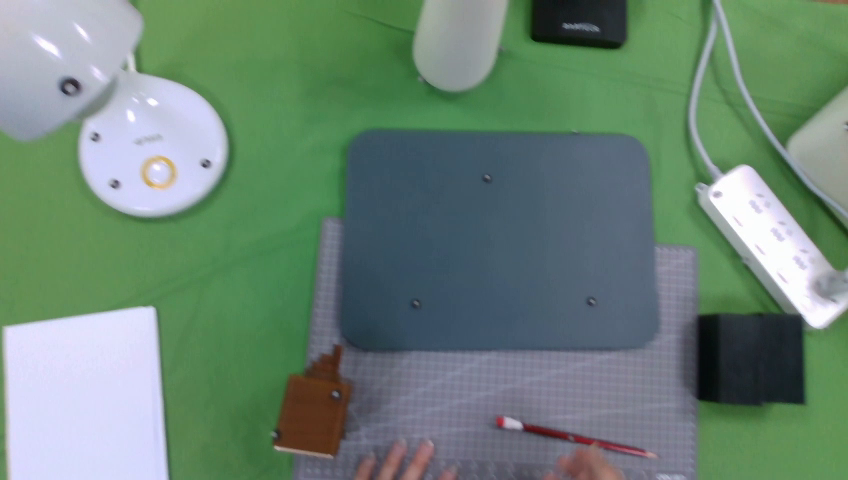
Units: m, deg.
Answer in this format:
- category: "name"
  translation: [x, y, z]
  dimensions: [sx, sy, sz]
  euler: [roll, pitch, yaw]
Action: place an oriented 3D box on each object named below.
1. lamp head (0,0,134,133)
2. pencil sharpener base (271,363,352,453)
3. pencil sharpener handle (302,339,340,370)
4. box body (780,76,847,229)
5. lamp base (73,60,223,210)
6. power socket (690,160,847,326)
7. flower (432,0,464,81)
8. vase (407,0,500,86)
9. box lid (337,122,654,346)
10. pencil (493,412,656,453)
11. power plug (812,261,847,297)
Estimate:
- category: "lamp head"
  translation: [-0.248, -0.140, 0.336]
  dimensions: [0.112, 0.124, 0.111]
  euler: [-19, 47, 22]
- category: "pencil sharpener base"
  translation: [-0.109, 0.165, 0.612]
  dimensions: [0.061, 0.107, 0.076]
  euler: [10, 79, -3]
- category: "pencil sharpener handle"
  translation: [-0.098, 0.113, 0.609]
  dimensions: [0.036, 0.068, 0.030]
  euler: [9, 78, 4]
- category: "box body"
  translation: [0.639, -0.074, 0.695]
  dimensions: [0.254, 0.160, 0.363]
  euler: [-39, 86, -10]
- category: "lamp base"
  translation: [-0.310, -0.136, 0.609]
  dimensions: [0.161, 0.181, 0.178]
  euler: [-27, 81, -9]
- category: "power socket"
  translation: [0.415, 0.003, 0.728]
  dimensions: [0.072, 0.032, 0.226]
  euler: [-36, 85, -10]
- category: "flower"
  translation: [0.053, -0.275, 0.574]
  dimensions: [0.044, 0.363, 0.038]
  euler: [-22, 71, -23]
- category: "vase"
  translation: [0.036, -0.246, 0.651]
  dimensions: [0.098, 0.200, 0.098]
  euler: [1, 79, -6]
- category: "box lid"
  translation: [0.087, -0.009, 0.710]
  dimensions: [0.372, 0.015, 0.262]
  euler: [0, 80, -5]
- category: "pencil"
  translation: [0.170, 0.218, 0.680]
  dimensions: [0.194, 0.012, 0.012]
  euler: [14, 79, -5]
- category: "power plug"
  translation: [0.485, 0.040, 0.705]
  dimensions: [0.072, 0.053, 0.035]
  euler: [-25, 81, -13]
